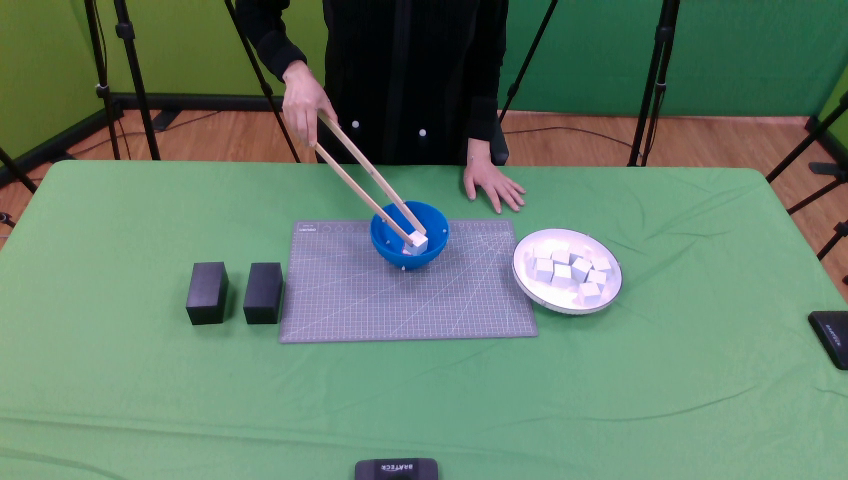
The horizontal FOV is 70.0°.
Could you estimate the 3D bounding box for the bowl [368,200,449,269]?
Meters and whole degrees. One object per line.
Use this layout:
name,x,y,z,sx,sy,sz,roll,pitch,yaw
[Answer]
bowl,-0.030,0.002,1.151,0.151,0.077,0.150,2,46,-2

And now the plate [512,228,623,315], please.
plate,0.268,0.063,1.146,0.208,0.039,0.206,3,46,-3

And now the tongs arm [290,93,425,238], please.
tongs arm,-0.133,-0.145,1.164,0.051,0.026,0.383,-31,74,-25

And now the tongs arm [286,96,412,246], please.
tongs arm,-0.150,-0.133,1.153,0.028,0.028,0.386,-37,76,-23
